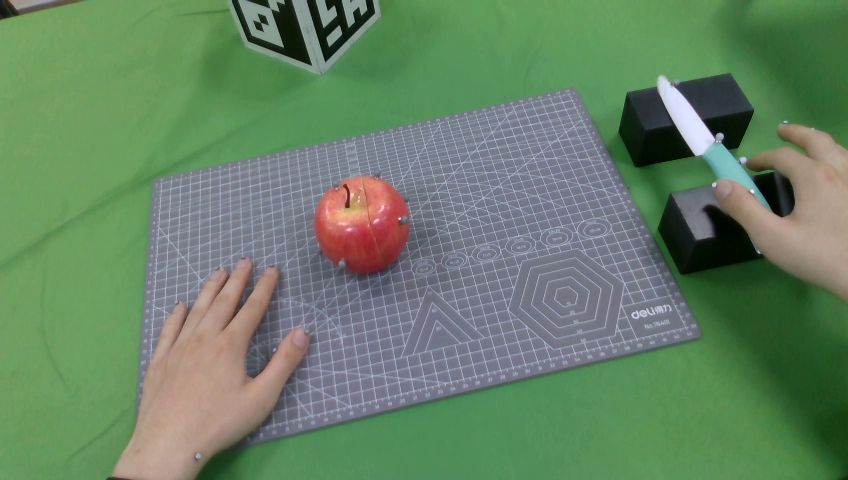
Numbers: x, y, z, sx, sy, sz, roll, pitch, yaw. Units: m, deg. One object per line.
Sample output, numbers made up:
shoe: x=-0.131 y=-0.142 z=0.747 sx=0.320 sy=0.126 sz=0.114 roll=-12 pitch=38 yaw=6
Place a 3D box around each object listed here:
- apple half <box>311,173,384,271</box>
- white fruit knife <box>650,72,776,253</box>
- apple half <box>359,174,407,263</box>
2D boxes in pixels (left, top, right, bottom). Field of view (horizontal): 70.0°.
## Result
apple half: x=-0.068 y=-0.010 z=0.521 sx=0.053 sy=0.075 sz=0.080 roll=-16 pitch=60 yaw=2
white fruit knife: x=0.237 y=-0.076 z=0.509 sx=0.027 sy=0.016 sz=0.205 roll=-18 pitch=55 yaw=6
apple half: x=-0.031 y=-0.020 z=0.521 sx=0.033 sy=0.082 sz=0.080 roll=-16 pitch=55 yaw=2
